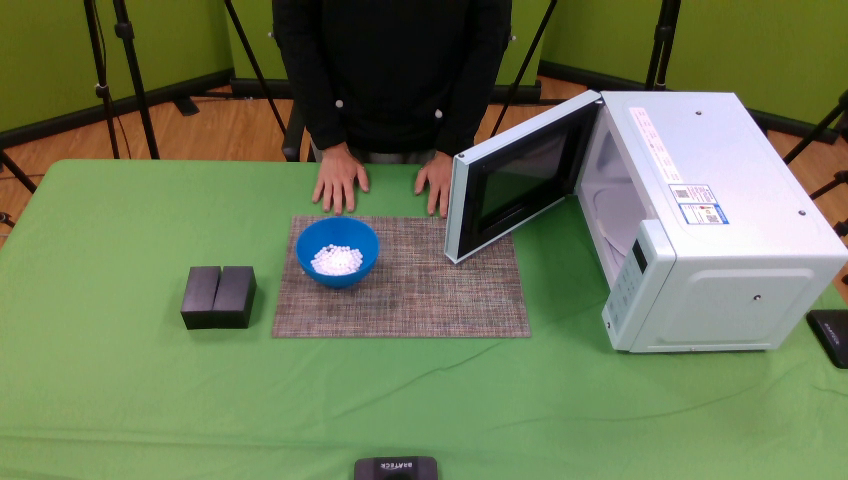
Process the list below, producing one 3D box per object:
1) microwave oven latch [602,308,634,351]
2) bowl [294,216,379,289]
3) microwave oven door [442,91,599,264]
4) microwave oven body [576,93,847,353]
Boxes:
[{"bbox_3d":[0.332,0.153,1.044,0.030,0.029,0.078,-1,45,-4],"label":"microwave oven latch"},{"bbox_3d":[-0.158,0.036,1.110,0.151,0.077,0.150,3,45,-2],"label":"bowl"},{"bbox_3d":[0.187,-0.123,1.160,0.356,0.245,0.039,-29,55,-28],"label":"microwave oven door"},{"bbox_3d":[0.475,-0.041,1.109,0.326,0.261,0.438,-1,45,-4],"label":"microwave oven body"}]
